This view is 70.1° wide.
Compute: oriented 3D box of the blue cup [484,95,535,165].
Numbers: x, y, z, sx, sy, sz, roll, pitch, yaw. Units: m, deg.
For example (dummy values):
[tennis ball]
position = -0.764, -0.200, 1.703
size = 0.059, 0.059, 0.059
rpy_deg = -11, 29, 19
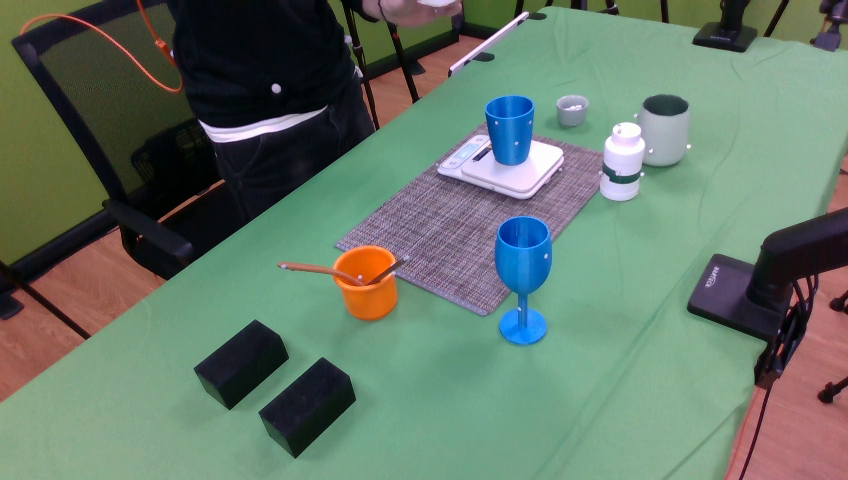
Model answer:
[blue cup]
position = 0.150, -0.188, 1.053
size = 0.092, 0.100, 0.092
rpy_deg = -6, 39, 5

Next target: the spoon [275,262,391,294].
[spoon]
position = -0.120, 0.050, 0.830
size = 0.041, 0.195, 0.021
rpy_deg = 31, 97, 45

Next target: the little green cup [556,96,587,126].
[little green cup]
position = 0.295, -0.258, 1.214
size = 0.061, 0.039, 0.061
rpy_deg = -4, 42, 4

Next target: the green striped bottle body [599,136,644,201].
[green striped bottle body]
position = 0.326, -0.128, 0.997
size = 0.063, 0.120, 0.063
rpy_deg = -4, 41, 4

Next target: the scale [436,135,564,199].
[scale]
position = 0.137, -0.142, 1.101
size = 0.199, 0.032, 0.149
rpy_deg = 22, 48, 30

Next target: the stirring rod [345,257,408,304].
[stirring rod]
position = -0.067, 0.057, 0.815
size = 0.014, 0.175, 0.006
rpy_deg = -25, 82, -38

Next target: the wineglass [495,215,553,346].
[wineglass]
position = 0.127, 0.055, 0.770
size = 0.074, 0.173, 0.073
rpy_deg = -4, 40, 4

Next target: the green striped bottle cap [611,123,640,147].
[green striped bottle cap]
position = 0.322, -0.168, 0.963
size = 0.044, 0.020, 0.044
rpy_deg = -3, 42, 3

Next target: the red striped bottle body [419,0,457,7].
[red striped bottle body]
position = 0.018, -0.401, 0.858
size = 0.063, 0.120, 0.062
rpy_deg = -3, 47, 4

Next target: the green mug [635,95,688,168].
[green mug]
position = 0.421, -0.201, 1.081
size = 0.092, 0.105, 0.125
rpy_deg = 5, 42, 15
